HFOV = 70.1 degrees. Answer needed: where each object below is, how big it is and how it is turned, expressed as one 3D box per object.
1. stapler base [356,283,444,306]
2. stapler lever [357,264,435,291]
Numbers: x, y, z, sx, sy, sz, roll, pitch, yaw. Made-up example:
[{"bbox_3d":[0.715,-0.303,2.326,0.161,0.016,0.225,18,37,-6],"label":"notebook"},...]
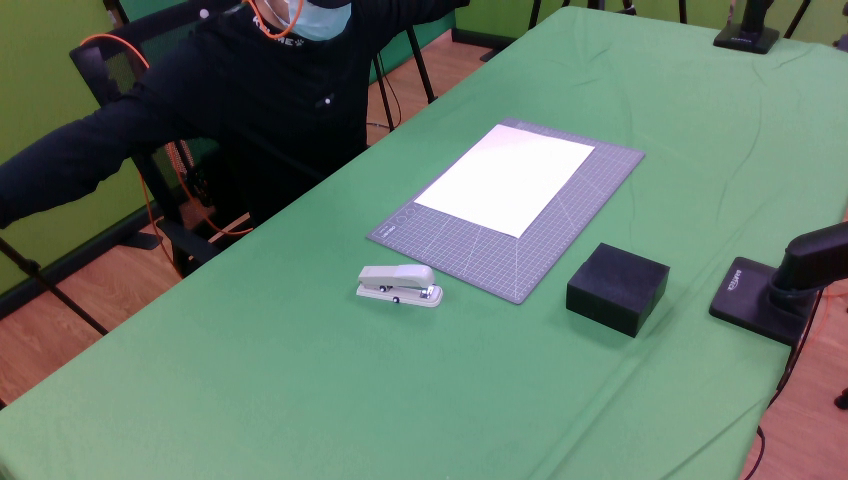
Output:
[{"bbox_3d":[-0.037,0.069,0.895,0.130,0.024,0.041,6,40,18],"label":"stapler base"},{"bbox_3d":[-0.041,0.050,0.879,0.117,0.040,0.027,7,40,17],"label":"stapler lever"}]
